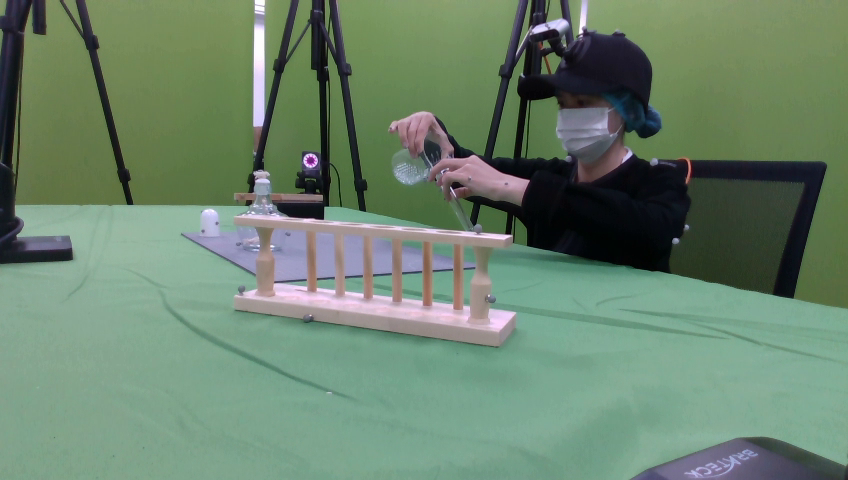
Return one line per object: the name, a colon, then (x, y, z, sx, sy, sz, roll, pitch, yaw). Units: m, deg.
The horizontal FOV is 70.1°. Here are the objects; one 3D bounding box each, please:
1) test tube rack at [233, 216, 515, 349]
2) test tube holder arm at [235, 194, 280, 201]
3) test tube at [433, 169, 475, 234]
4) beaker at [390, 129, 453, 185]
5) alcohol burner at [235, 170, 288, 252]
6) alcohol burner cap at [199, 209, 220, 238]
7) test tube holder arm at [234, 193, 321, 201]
test tube rack: (-0.045, 0.029, 0.526, 0.241, 0.085, 0.067, 5, 7, 19)
test tube holder arm: (-0.336, -0.086, 1.221, 0.088, 0.015, 0.010, -1, 16, -29)
test tube: (0.049, -0.064, 1.005, 0.017, 0.017, 0.149, -2, 48, -31)
beaker: (-0.007, -0.143, 1.093, 0.074, 0.084, 0.100, 17, -25, -38)
alcohol burner: (-0.236, -0.042, 0.882, 0.078, 0.119, 0.078, 2, 9, 0)
alcohol burner cap: (-0.356, -0.027, 1.002, 0.034, 0.048, 0.034, 2, 7, 0)
test tube holder arm: (-0.299, -0.088, 1.248, 0.179, 0.015, 0.013, -1, 16, -30)
